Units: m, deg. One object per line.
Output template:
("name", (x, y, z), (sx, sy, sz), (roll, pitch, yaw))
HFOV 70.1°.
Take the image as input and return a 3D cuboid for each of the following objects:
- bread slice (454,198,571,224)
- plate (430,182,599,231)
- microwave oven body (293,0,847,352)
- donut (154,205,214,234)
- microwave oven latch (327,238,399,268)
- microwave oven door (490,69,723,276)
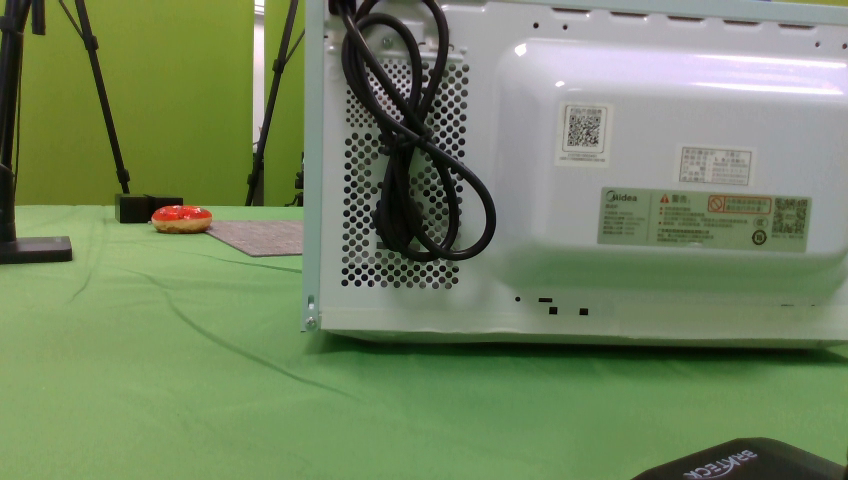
("bread slice", (0.116, -0.037, 0.754), (0.105, 0.019, 0.131), (-12, 10, -33))
("plate", (0.112, -0.043, 0.760), (0.208, 0.039, 0.207), (-3, 11, 1))
("microwave oven body", (0.122, -0.055, 0.550), (0.442, 0.260, 0.325), (3, 7, -5))
("donut", (-0.426, -0.037, 1.075), (0.099, 0.048, 0.099), (2, 12, 0))
("microwave oven latch", (-0.069, 0.015, 0.694), (0.079, 0.029, 0.030), (3, 7, -3))
("microwave oven door", (0.228, -0.095, 0.844), (0.039, 0.243, 0.354), (-3, 8, -36))
